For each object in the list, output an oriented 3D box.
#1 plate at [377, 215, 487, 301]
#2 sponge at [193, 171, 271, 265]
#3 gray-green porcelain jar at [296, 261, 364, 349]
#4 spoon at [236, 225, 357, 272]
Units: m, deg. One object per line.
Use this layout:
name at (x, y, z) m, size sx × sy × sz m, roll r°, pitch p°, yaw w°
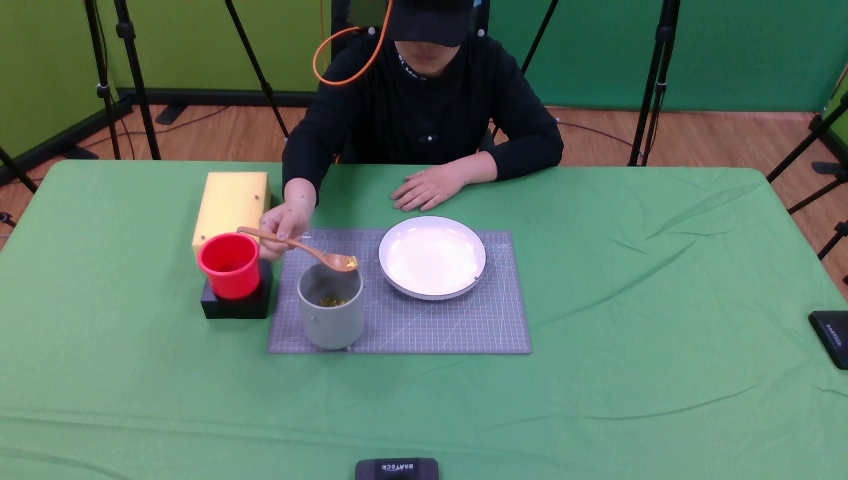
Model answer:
plate at (0.015, 0.037, 1.147) m, size 0.208 × 0.039 × 0.206 m, roll 2°, pitch 46°, yaw -2°
sponge at (-0.371, -0.047, 1.189) m, size 0.118 × 0.061 × 0.205 m, roll -2°, pitch 47°, yaw -6°
gray-green porcelain jar at (-0.152, 0.111, 1.003) m, size 0.106 × 0.127 × 0.105 m, roll 2°, pitch 46°, yaw -2°
spoon at (-0.198, 0.010, 0.952) m, size 0.194 × 0.022 × 0.041 m, roll 23°, pitch 37°, yaw -15°
